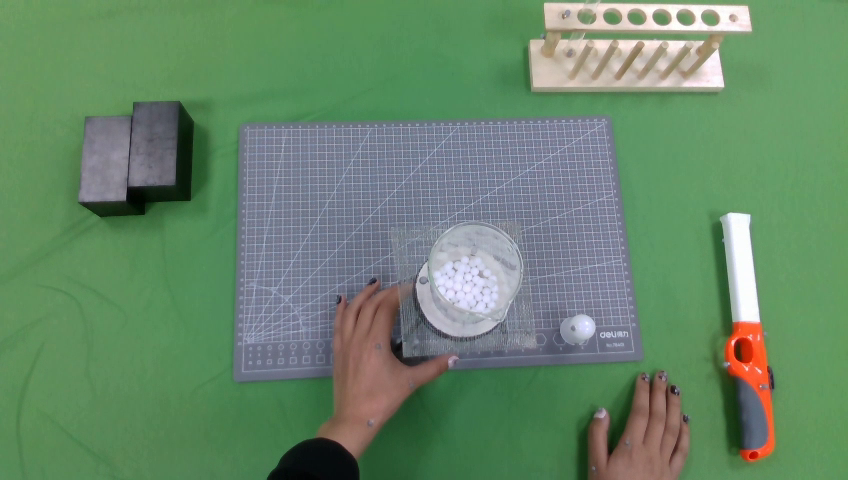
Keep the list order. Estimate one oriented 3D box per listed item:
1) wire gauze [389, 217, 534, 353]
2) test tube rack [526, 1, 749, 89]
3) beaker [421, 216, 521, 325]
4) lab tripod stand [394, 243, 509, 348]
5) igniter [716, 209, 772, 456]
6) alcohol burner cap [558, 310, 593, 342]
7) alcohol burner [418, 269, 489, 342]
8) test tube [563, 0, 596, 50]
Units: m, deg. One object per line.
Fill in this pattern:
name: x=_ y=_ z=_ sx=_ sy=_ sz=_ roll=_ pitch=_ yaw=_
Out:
wire gauze: x=0.034 y=0.039 z=0.554 sx=0.125 sy=0.011 sz=0.120 roll=-4 pitch=74 yaw=-2
test tube rack: x=0.253 y=-0.233 z=0.731 sx=0.242 sy=0.085 sz=0.066 roll=-1 pitch=76 yaw=-3
beaker: x=0.037 y=0.033 z=0.506 sx=0.074 sy=0.100 sz=0.083 roll=-25 pitch=77 yaw=-8
lab tripod stand: x=0.028 y=0.058 z=0.617 sx=0.148 sy=0.132 sz=0.147 roll=1 pitch=75 yaw=-2
igniter: x=0.360 y=0.099 z=0.686 sx=0.057 sy=0.025 sz=0.275 roll=4 pitch=76 yaw=-12
alcohol burner cap: x=0.168 y=0.094 z=0.664 sx=0.034 sy=0.048 sz=0.033 roll=1 pitch=74 yaw=-2
alcohol burner: x=0.032 y=0.065 z=0.626 sx=0.078 sy=0.119 sz=0.077 roll=1 pitch=74 yaw=-4
test tube: x=0.183 y=-0.264 z=0.683 sx=0.017 sy=0.151 sz=0.017 roll=1 pitch=71 yaw=-3
